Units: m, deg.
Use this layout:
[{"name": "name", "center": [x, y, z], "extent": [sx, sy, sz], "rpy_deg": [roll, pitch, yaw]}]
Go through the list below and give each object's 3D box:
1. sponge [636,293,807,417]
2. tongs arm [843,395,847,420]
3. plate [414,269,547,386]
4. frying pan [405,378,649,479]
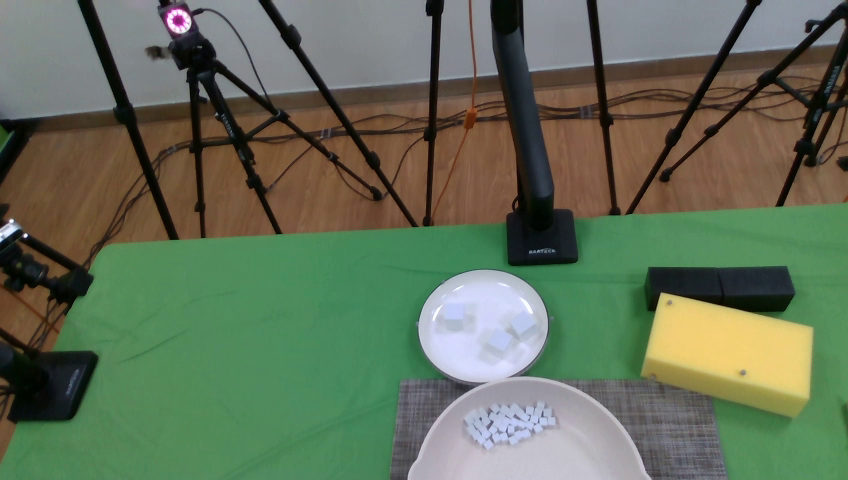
[{"name": "sponge", "center": [0.424, 0.161, 0.868], "extent": [0.206, 0.061, 0.117], "rpy_deg": [12, 52, 19]}, {"name": "tongs arm", "center": [0.555, 0.364, 0.707], "extent": [0.028, 0.028, 0.384], "rpy_deg": [2, 53, 8]}, {"name": "plate", "center": [0.089, 0.140, 0.962], "extent": [0.207, 0.039, 0.205], "rpy_deg": [-5, 52, 7]}, {"name": "frying pan", "center": [0.116, 0.395, 0.707], "extent": [0.306, 0.104, 0.483], "rpy_deg": [0, 44, 11]}]
